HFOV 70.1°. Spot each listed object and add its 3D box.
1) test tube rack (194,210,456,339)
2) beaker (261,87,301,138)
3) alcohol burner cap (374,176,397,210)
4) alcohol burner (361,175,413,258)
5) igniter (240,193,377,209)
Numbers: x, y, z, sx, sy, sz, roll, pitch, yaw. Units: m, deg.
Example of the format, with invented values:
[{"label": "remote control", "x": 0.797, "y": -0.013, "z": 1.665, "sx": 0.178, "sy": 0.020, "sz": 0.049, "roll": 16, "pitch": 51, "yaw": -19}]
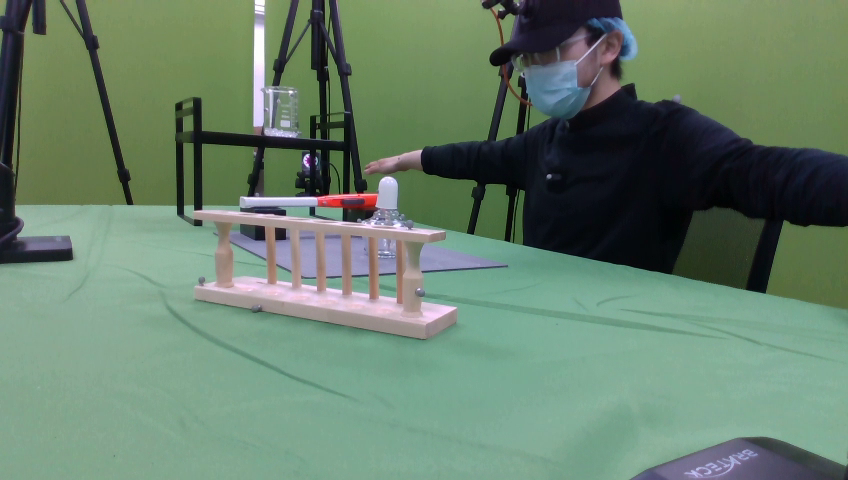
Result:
[{"label": "test tube rack", "x": -0.093, "y": 0.023, "z": 0.545, "sx": 0.241, "sy": 0.085, "sz": 0.067, "roll": 6, "pitch": 8, "yaw": 25}, {"label": "beaker", "x": -0.298, "y": -0.263, "z": 1.255, "sx": 0.084, "sy": 0.100, "sz": 0.073, "roll": -5, "pitch": 10, "yaw": -40}, {"label": "alcohol burner cap", "x": -0.054, "y": -0.068, "z": 0.866, "sx": 0.034, "sy": 0.048, "sz": 0.034, "roll": 6, "pitch": 9, "yaw": -1}, {"label": "alcohol burner", "x": -0.054, "y": -0.034, "z": 0.870, "sx": 0.078, "sy": 0.119, "sz": 0.078, "roll": 1, "pitch": 9, "yaw": 0}, {"label": "igniter", "x": -0.188, "y": -0.070, "z": 1.078, "sx": 0.278, "sy": 0.025, "sz": 0.057, "roll": -5, "pitch": 11, "yaw": -35}]
